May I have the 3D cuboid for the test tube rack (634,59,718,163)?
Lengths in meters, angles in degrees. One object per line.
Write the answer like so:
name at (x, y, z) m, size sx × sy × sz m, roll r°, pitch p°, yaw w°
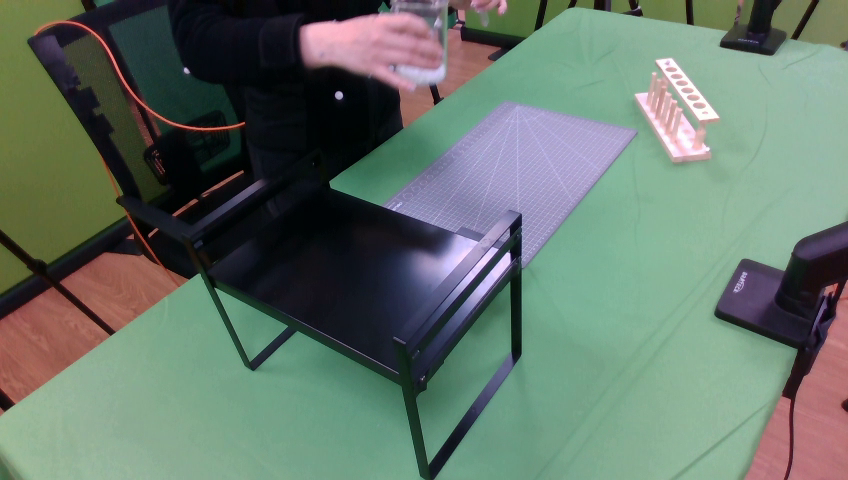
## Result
test tube rack at (0.470, -0.250, 1.148) m, size 0.067 × 0.085 × 0.241 m, roll -6°, pitch 40°, yaw 3°

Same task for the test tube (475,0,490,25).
test tube at (0.086, -0.391, 0.954) m, size 0.017 × 0.151 × 0.017 m, roll -5°, pitch 70°, yaw 14°

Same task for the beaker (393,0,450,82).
beaker at (-0.001, -0.265, 0.789) m, size 0.073 × 0.100 × 0.084 m, roll 20°, pitch 35°, yaw 28°
